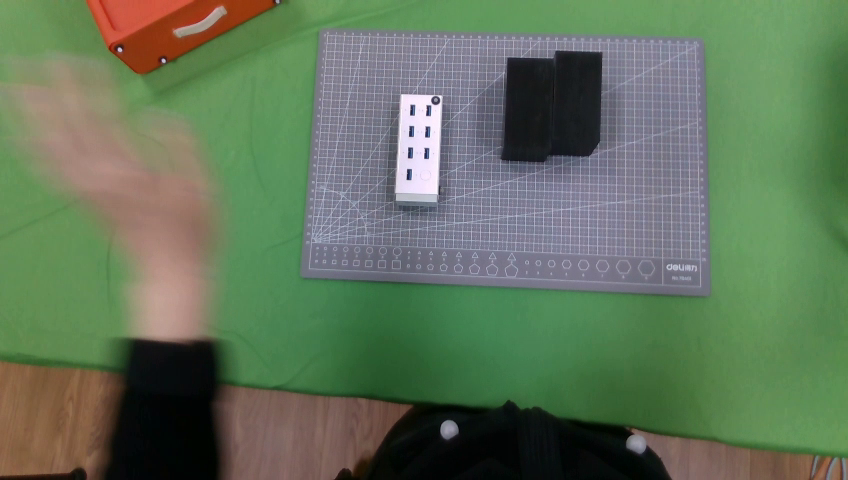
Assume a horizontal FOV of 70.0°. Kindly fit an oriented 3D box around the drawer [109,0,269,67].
[{"bbox_3d":[-0.302,-0.340,0.705,0.194,0.073,0.211,-29,80,-2],"label":"drawer"}]

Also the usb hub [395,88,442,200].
[{"bbox_3d":[-0.006,-0.108,0.682,0.049,0.025,0.124,2,82,2],"label":"usb hub"}]

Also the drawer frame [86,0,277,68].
[{"bbox_3d":[-0.303,-0.342,0.702,0.202,0.083,0.212,-30,80,-2],"label":"drawer frame"}]
